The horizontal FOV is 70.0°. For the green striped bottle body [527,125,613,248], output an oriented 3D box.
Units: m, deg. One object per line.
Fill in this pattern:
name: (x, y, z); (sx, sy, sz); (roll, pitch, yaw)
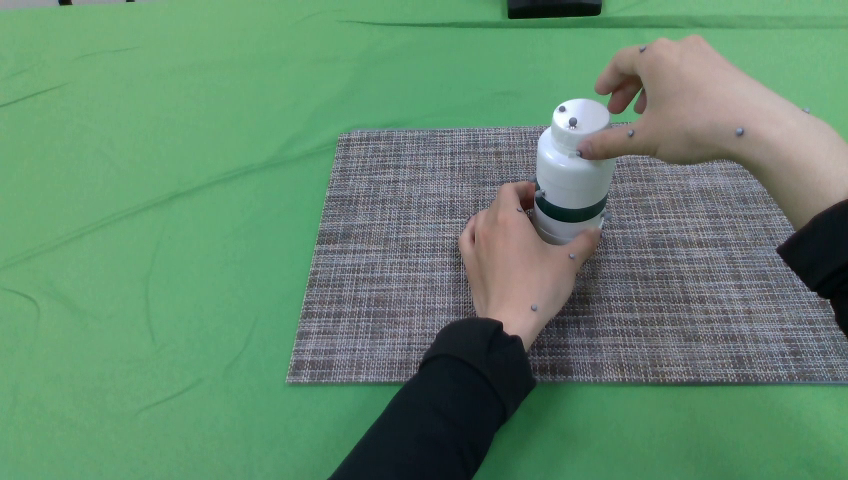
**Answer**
green striped bottle body: (0.121, -0.053, 0.508); (0.063, 0.120, 0.062); (-2, 50, 3)

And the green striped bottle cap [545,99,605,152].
green striped bottle cap: (0.117, -0.089, 0.467); (0.044, 0.020, 0.044); (-1, 50, 2)
